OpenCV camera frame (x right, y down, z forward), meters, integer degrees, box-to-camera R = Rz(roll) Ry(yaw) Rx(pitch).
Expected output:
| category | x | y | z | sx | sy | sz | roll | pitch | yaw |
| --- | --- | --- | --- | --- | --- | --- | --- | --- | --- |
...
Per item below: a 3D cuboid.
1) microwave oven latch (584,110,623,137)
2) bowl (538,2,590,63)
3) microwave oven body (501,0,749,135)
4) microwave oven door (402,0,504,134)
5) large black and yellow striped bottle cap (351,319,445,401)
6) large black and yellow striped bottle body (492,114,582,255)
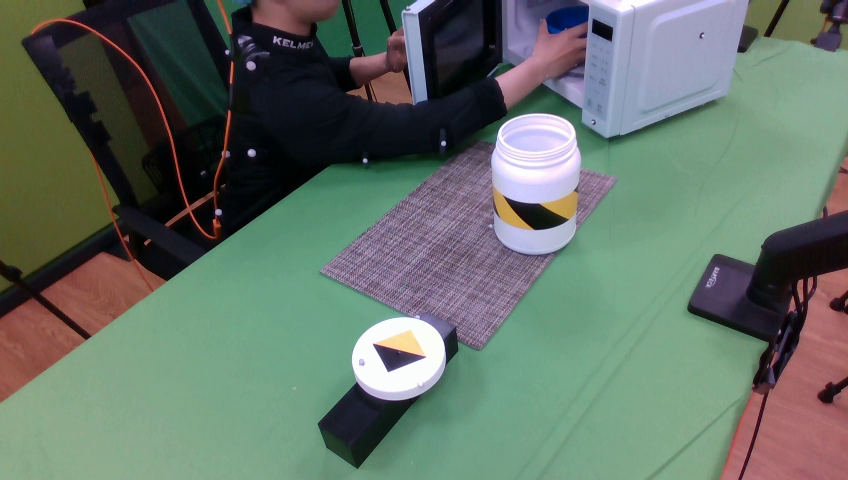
| category | x | y | z | sx | sy | sz | roll | pitch | yaw |
| --- | --- | --- | --- | --- | --- | --- | --- | --- | --- |
| microwave oven latch | 0.337 | -0.222 | 1.142 | 0.030 | 0.029 | 0.078 | -21 | 42 | -14 |
| bowl | 0.322 | -0.427 | 1.272 | 0.151 | 0.077 | 0.150 | -13 | 43 | 13 |
| microwave oven body | 0.382 | -0.444 | 1.246 | 0.327 | 0.261 | 0.437 | -22 | 42 | -16 |
| microwave oven door | 0.073 | -0.411 | 1.243 | 0.039 | 0.245 | 0.356 | 17 | 46 | 26 |
| large black and yellow striped bottle cap | -0.031 | 0.143 | 0.735 | 0.115 | 0.019 | 0.114 | -3 | 40 | 3 |
| large black and yellow striped bottle body | 0.169 | -0.083 | 0.912 | 0.131 | 0.185 | 0.130 | -4 | 41 | 4 |
